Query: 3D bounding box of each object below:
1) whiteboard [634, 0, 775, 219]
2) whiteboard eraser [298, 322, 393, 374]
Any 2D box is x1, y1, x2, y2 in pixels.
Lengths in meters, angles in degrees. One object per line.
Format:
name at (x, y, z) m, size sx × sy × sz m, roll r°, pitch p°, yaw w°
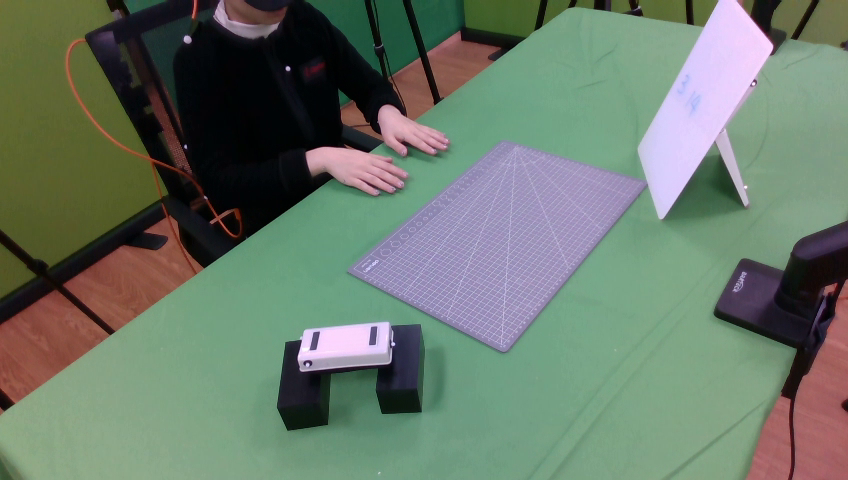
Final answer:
whiteboard at (0.485, -0.193, 0.957) m, size 0.144 × 0.305 × 0.216 m, roll 14°, pitch 41°, yaw -4°
whiteboard eraser at (-0.094, 0.134, 0.740) m, size 0.113 × 0.042 × 0.055 m, roll -5°, pitch 41°, yaw 3°
